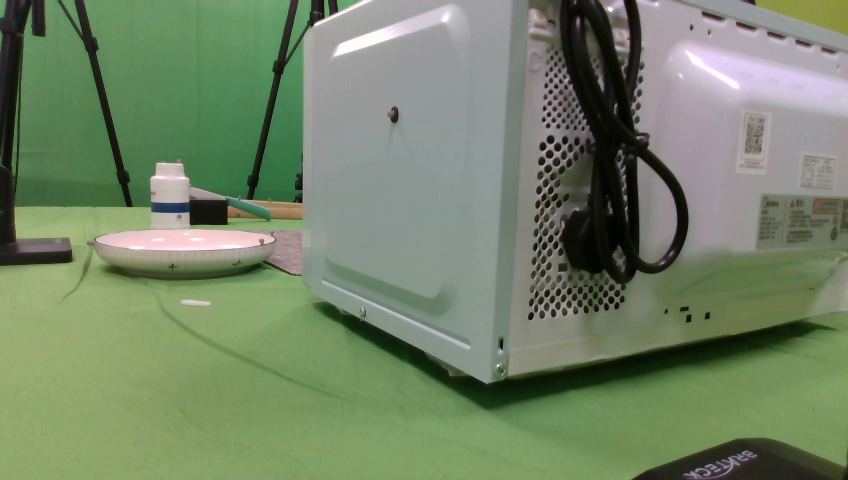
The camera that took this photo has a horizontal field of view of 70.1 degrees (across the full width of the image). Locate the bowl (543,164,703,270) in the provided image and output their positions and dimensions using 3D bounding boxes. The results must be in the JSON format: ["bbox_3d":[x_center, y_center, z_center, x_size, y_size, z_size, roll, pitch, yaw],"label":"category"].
[{"bbox_3d":[0.181,-0.019,0.588,0.151,0.077,0.151,14,7,-1],"label":"bowl"}]

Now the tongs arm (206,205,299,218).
[{"bbox_3d":[-0.302,-0.065,1.407,0.389,0.028,0.028,1,4,-15],"label":"tongs arm"}]

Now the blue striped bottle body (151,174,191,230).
[{"bbox_3d":[-0.439,-0.071,1.052,0.063,0.120,0.063,2,7,0],"label":"blue striped bottle body"}]

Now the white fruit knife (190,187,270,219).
[{"bbox_3d":[-0.413,-0.081,1.270,0.208,0.027,0.016,17,13,-41],"label":"white fruit knife"}]

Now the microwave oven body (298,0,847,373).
[{"bbox_3d":[0.151,-0.055,0.543,0.444,0.260,0.324,-1,7,-33],"label":"microwave oven body"}]

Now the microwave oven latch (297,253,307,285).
[{"bbox_3d":[-0.082,0.027,0.582,0.079,0.029,0.030,-1,7,-32],"label":"microwave oven latch"}]

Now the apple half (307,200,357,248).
[{"bbox_3d":[-0.136,-0.024,0.942,0.053,0.074,0.081,15,10,38],"label":"apple half"}]

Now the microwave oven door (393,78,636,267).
[{"bbox_3d":[0.111,-0.102,0.866,0.354,0.243,0.039,7,9,31],"label":"microwave oven door"}]

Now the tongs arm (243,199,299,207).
[{"bbox_3d":[-0.309,-0.079,1.487,0.385,0.026,0.050,3,7,-2],"label":"tongs arm"}]

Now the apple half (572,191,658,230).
[{"bbox_3d":[0.182,-0.030,0.586,0.081,0.033,0.081,5,-7,1],"label":"apple half"}]

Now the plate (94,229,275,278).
[{"bbox_3d":[-0.291,0.016,0.749,0.208,0.039,0.207,2,7,0],"label":"plate"}]

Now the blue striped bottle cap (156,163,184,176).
[{"bbox_3d":[-0.438,-0.122,1.045,0.044,0.020,0.044,5,6,0],"label":"blue striped bottle cap"}]
